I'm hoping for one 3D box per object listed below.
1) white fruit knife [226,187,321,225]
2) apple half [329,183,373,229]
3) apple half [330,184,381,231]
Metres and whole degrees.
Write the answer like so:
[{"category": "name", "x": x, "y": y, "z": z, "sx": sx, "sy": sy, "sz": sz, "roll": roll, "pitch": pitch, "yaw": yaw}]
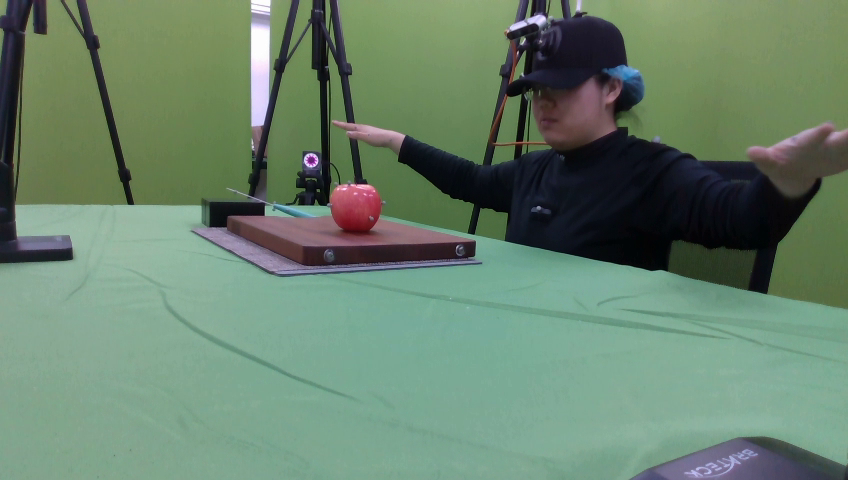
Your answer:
[{"category": "white fruit knife", "x": -0.298, "y": -0.068, "z": 1.213, "sx": 0.208, "sy": 0.016, "sz": 0.027, "roll": 20, "pitch": -3, "yaw": -31}, {"category": "apple half", "x": -0.123, "y": -0.056, "z": 0.970, "sx": 0.082, "sy": 0.081, "sz": 0.032, "roll": -3, "pitch": 13, "yaw": -36}, {"category": "apple half", "x": -0.100, "y": -0.049, "z": 0.939, "sx": 0.081, "sy": 0.074, "sz": 0.053, "roll": 1, "pitch": 11, "yaw": -36}]
